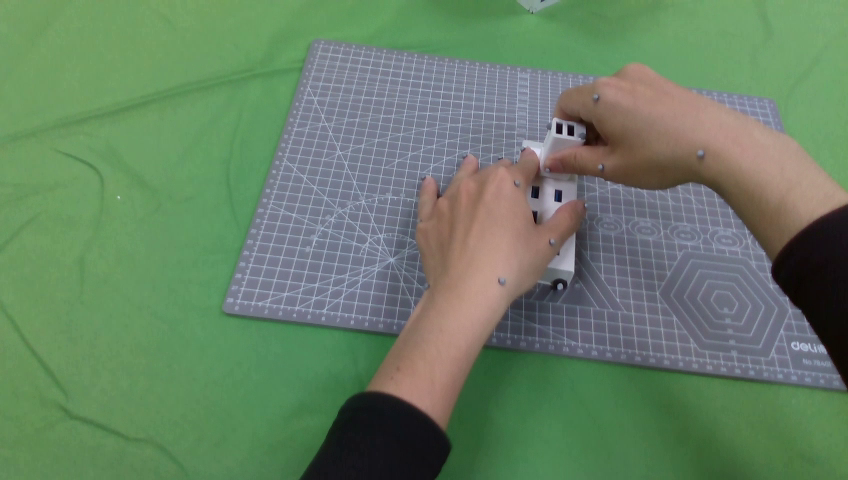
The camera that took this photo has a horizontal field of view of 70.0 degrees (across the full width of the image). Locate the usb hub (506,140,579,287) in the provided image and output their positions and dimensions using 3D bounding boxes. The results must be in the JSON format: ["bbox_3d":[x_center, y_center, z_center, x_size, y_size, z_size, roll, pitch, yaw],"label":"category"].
[{"bbox_3d":[0.094,-0.024,0.475,0.049,0.025,0.124,9,55,3],"label":"usb hub"}]

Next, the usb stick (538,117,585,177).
[{"bbox_3d":[0.104,-0.068,0.468,0.027,0.059,0.021,5,63,1],"label":"usb stick"}]
